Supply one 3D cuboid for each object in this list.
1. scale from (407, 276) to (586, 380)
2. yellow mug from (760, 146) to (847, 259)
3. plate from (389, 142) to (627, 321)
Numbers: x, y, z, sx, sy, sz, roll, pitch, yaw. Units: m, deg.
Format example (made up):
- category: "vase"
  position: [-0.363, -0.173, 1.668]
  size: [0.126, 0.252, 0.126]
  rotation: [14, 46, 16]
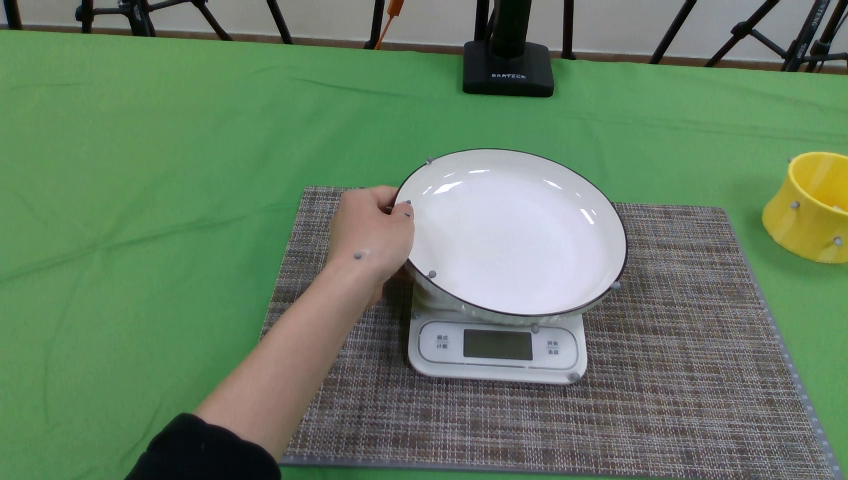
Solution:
- category: "scale"
  position: [0.064, 0.031, 0.550]
  size: [0.149, 0.032, 0.199]
  rotation: [3, 47, 1]
- category: "yellow mug"
  position: [0.416, -0.031, 0.605]
  size: [0.100, 0.064, 0.129]
  rotation: [-32, 56, -28]
- category: "plate"
  position: [0.072, -0.009, 0.540]
  size: [0.209, 0.038, 0.207]
  rotation: [3, 47, -3]
